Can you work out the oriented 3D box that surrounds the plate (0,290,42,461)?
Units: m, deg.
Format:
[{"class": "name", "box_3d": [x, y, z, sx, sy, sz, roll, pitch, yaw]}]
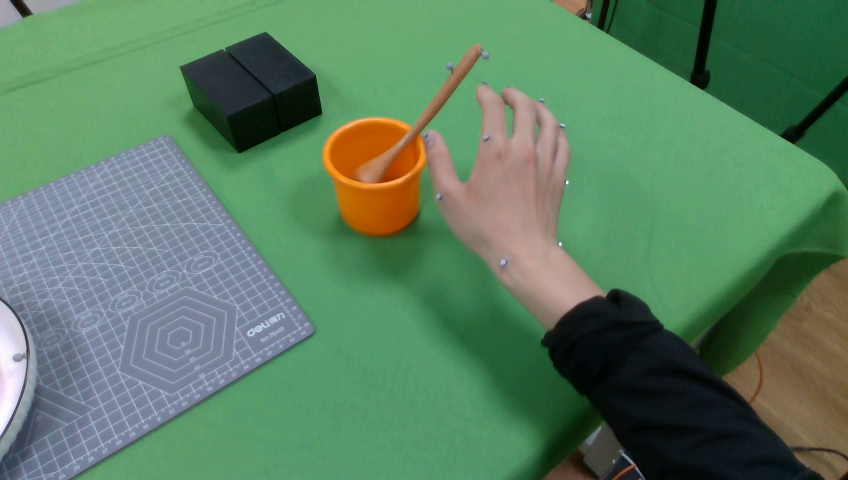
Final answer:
[{"class": "plate", "box_3d": [-0.378, 0.120, 0.426, 0.209, 0.038, 0.207, 1, 52, -1]}]

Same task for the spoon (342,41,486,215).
[{"class": "spoon", "box_3d": [-0.013, -0.097, 0.533, 0.194, 0.022, 0.041, -46, 57, 15]}]
